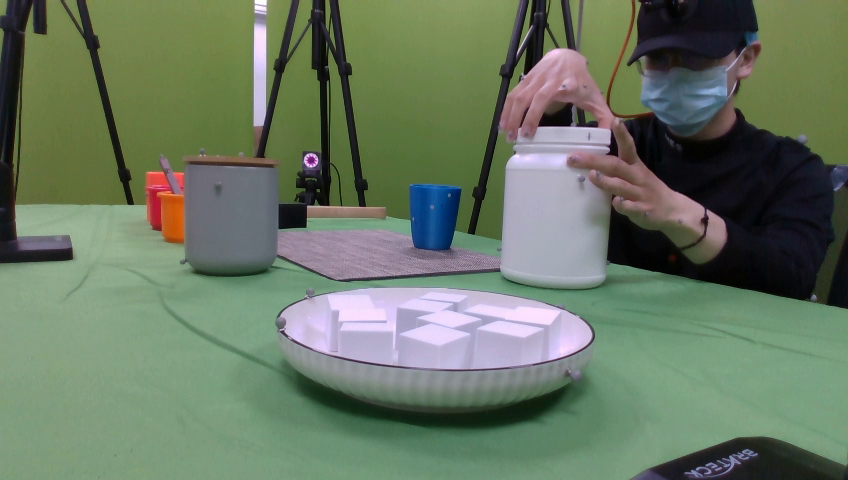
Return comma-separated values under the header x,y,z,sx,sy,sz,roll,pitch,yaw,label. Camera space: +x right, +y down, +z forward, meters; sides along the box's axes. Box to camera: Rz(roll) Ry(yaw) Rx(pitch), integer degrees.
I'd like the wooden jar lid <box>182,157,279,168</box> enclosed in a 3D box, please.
x,y,z,sx,sy,sz,roll,pitch,yaw,label
-0.227,-0.086,0.714,0.108,0.020,0.108,1,6,0,wooden jar lid

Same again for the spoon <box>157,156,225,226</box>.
x,y,z,sx,sy,sz,roll,pitch,yaw,label
-0.425,-0.094,1.117,0.041,0.022,0.194,5,51,29,spoon

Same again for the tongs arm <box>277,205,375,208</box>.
x,y,z,sx,sy,sz,roll,pitch,yaw,label
-0.288,-0.070,1.435,0.389,0.027,0.028,1,0,-18,tongs arm

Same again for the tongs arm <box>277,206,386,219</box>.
x,y,z,sx,sy,sz,roll,pitch,yaw,label
-0.252,-0.062,1.360,0.387,0.026,0.050,-1,4,-31,tongs arm

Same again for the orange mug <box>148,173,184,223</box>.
x,y,z,sx,sy,sz,roll,pitch,yaw,label
-0.490,-0.087,1.222,0.127,0.101,0.083,-9,13,-38,orange mug

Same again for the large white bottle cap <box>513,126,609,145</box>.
x,y,z,sx,sy,sz,roll,pitch,yaw,label
0.166,-0.126,0.734,0.115,0.018,0.115,2,7,0,large white bottle cap

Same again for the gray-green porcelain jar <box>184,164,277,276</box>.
x,y,z,sx,sy,sz,roll,pitch,yaw,label
-0.230,-0.025,0.722,0.106,0.126,0.106,3,7,0,gray-green porcelain jar

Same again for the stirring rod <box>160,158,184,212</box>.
x,y,z,sx,sy,sz,roll,pitch,yaw,label
-0.391,-0.070,0.972,0.014,0.006,0.175,-1,50,-49,stirring rod

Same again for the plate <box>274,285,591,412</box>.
x,y,z,sx,sy,sz,roll,pitch,yaw,label
0.005,0.069,0.408,0.208,0.039,0.207,2,7,0,plate

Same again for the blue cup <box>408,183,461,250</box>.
x,y,z,sx,sy,sz,roll,pitch,yaw,label
0.015,-0.038,0.969,0.093,0.100,0.092,3,9,0,blue cup

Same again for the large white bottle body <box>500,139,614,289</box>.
x,y,z,sx,sy,sz,roll,pitch,yaw,label
0.163,-0.041,0.744,0.131,0.184,0.130,2,7,0,large white bottle body
